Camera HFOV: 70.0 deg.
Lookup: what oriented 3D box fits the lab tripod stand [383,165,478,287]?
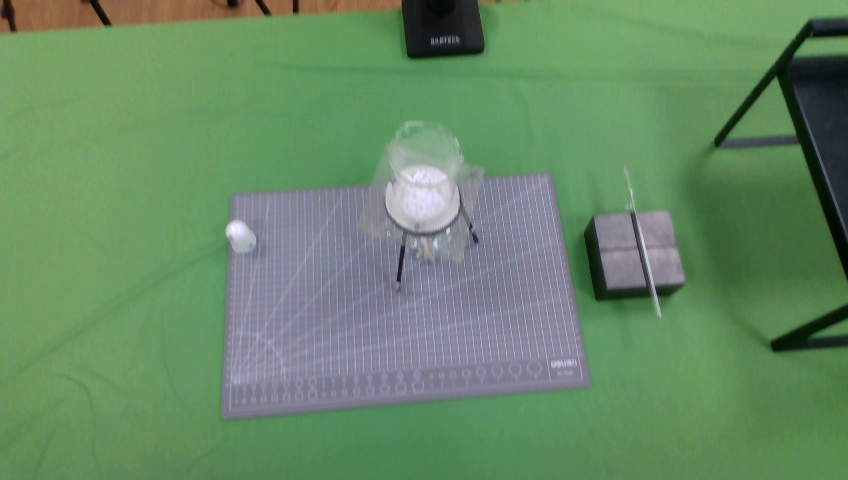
[{"bbox_3d":[0.001,-0.024,0.754,0.148,0.132,0.147,1,66,-2],"label":"lab tripod stand"}]

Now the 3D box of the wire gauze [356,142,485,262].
[{"bbox_3d":[-0.002,-0.048,0.693,0.125,0.011,0.121,18,69,2],"label":"wire gauze"}]

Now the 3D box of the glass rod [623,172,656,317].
[{"bbox_3d":[0.274,0.002,0.771,0.008,0.008,0.198,-2,68,-2],"label":"glass rod"}]

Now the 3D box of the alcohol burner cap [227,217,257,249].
[{"bbox_3d":[-0.239,-0.011,0.791,0.034,0.048,0.033,0,67,0],"label":"alcohol burner cap"}]

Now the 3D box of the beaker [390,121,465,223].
[{"bbox_3d":[-0.001,-0.070,0.650,0.074,0.101,0.083,-26,70,-13],"label":"beaker"}]

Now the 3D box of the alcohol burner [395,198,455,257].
[{"bbox_3d":[0.003,-0.023,0.765,0.078,0.120,0.077,1,68,-3],"label":"alcohol burner"}]
